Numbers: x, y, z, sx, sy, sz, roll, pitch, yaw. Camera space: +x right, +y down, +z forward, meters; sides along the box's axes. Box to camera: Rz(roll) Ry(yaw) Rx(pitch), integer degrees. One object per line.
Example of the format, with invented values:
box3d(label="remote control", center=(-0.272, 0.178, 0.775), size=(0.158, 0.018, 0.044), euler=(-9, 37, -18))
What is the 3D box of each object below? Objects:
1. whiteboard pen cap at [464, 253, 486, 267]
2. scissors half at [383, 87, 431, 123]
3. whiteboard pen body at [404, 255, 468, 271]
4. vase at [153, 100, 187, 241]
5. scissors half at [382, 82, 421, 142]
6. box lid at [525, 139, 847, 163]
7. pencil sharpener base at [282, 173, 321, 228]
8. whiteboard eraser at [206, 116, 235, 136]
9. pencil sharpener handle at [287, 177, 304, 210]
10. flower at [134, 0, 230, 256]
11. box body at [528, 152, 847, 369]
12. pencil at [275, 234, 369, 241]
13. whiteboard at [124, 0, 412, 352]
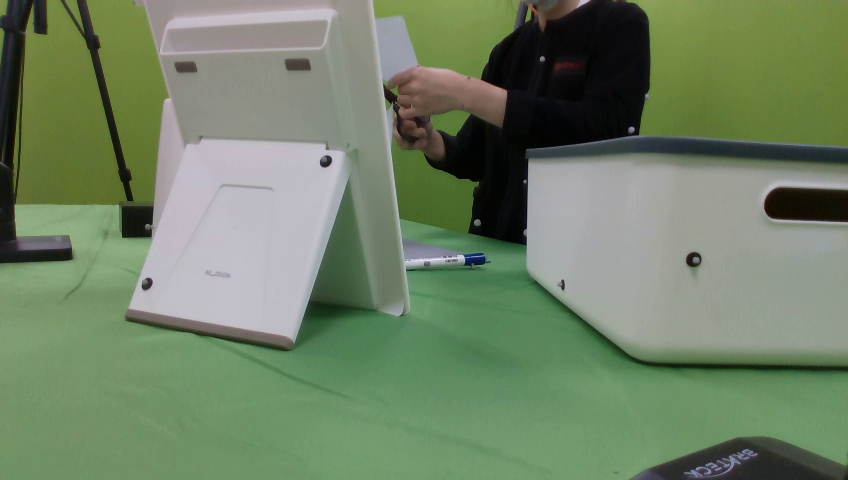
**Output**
box3d(label="whiteboard pen cap", center=(0.066, 0.027, 0.818), size=(0.033, 0.018, 0.018), euler=(-5, 10, -24))
box3d(label="scissors half", center=(-0.047, -0.253, 1.056), size=(0.176, 0.040, 0.013), euler=(21, -5, -43))
box3d(label="whiteboard pen body", center=(0.013, 0.030, 0.792), size=(0.141, 0.017, 0.017), euler=(-3, 9, -24))
box3d(label="vase", center=(-0.278, -0.066, 0.736), size=(0.098, 0.200, 0.098), euler=(2, 9, 0))
box3d(label="scissors half", center=(-0.058, -0.235, 1.053), size=(0.012, 0.040, 0.176), euler=(22, -23, 48))
box3d(label="box lid", center=(0.261, -0.078, 0.580), size=(0.264, 0.015, 0.371), euler=(2, 7, -4))
box3d(label="pencil sharpener base", center=(-0.247, -0.080, 1.212), size=(0.061, 0.107, 0.076), euler=(-2, 5, -28))
box3d(label="whiteboard eraser", center=(-0.450, -0.252, 1.335), size=(0.056, 0.042, 0.112), euler=(1, 7, -22))
box3d(label="pencil sharpener handle", center=(-0.269, -0.096, 1.257), size=(0.036, 0.067, 0.030), euler=(-8, 8, -27))
box3d(label="flower", center=(-0.282, -0.147, 0.713), size=(0.038, 0.362, 0.044), euler=(-23, 24, -31))
box3d(label="box body", center=(0.258, -0.005, 0.591), size=(0.254, 0.160, 0.363), euler=(2, 7, -4))
box3d(label="pencil", center=(-0.169, -0.006, 1.036), size=(0.195, 0.012, 0.012), euler=(-2, 9, -45))
box3d(label="whiteboard", center=(-0.151, -0.049, 0.472), size=(0.216, 0.305, 0.144), euler=(6, 27, 24))
